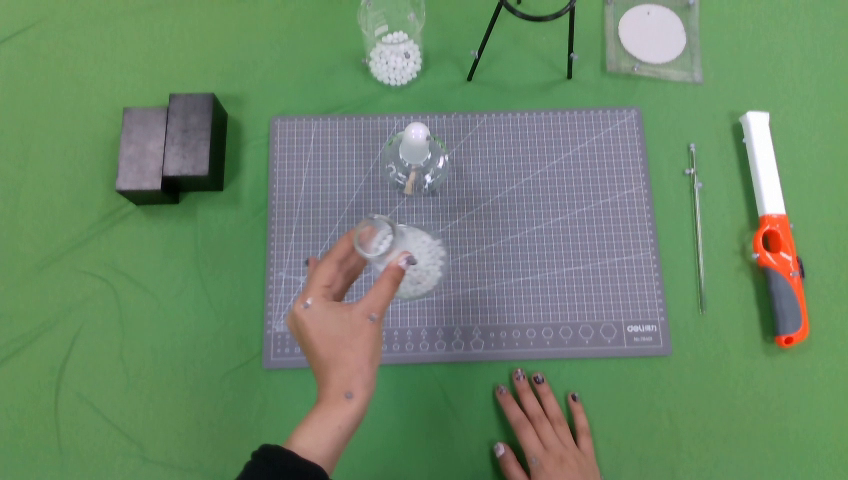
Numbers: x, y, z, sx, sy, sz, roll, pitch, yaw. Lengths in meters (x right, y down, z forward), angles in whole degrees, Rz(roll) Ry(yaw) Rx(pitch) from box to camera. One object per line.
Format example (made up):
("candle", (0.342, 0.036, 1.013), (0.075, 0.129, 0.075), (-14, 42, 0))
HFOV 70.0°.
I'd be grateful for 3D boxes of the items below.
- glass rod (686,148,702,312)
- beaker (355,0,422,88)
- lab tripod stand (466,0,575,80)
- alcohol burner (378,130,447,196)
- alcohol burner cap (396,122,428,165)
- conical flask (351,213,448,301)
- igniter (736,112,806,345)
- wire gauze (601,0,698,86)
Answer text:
("glass rod", (0.314, -0.015, 0.706), (0.008, 0.008, 0.198), (3, 75, 0))
("beaker", (-0.036, -0.233, 0.711), (0.084, 0.100, 0.073), (-42, 80, -11))
("lab tripod stand", (0.115, -0.250, 0.699), (0.148, 0.132, 0.147), (0, 77, 0))
("alcohol burner", (-0.012, -0.093, 0.665), (0.078, 0.119, 0.077), (1, 74, -2))
("alcohol burner cap", (-0.011, -0.104, 0.630), (0.034, 0.048, 0.033), (3, 68, -7))
("conical flask", (-0.026, 0.010, 0.533), (0.075, 0.122, 0.075), (-3, 77, 13))
("igniter", (0.398, -0.018, 0.698), (0.057, 0.025, 0.275), (1, 76, -11))
("wire gauze", (0.286, -0.257, 0.768), (0.125, 0.011, 0.121), (5, 76, -1))
